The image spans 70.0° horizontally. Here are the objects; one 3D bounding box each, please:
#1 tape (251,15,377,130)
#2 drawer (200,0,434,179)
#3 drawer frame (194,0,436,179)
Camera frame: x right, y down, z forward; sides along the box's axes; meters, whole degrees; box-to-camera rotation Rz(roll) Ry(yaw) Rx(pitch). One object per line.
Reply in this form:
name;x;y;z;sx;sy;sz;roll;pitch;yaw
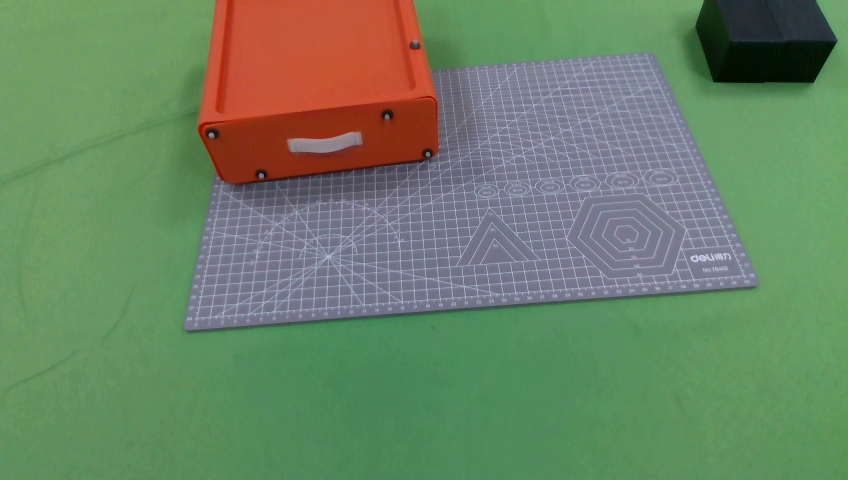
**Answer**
tape;-0.105;-0.166;0.594;0.117;0.053;0.115;-1;54;2
drawer;-0.101;-0.166;0.585;0.194;0.074;0.209;-8;53;-3
drawer frame;-0.103;-0.169;0.587;0.202;0.083;0.211;-9;53;-3
